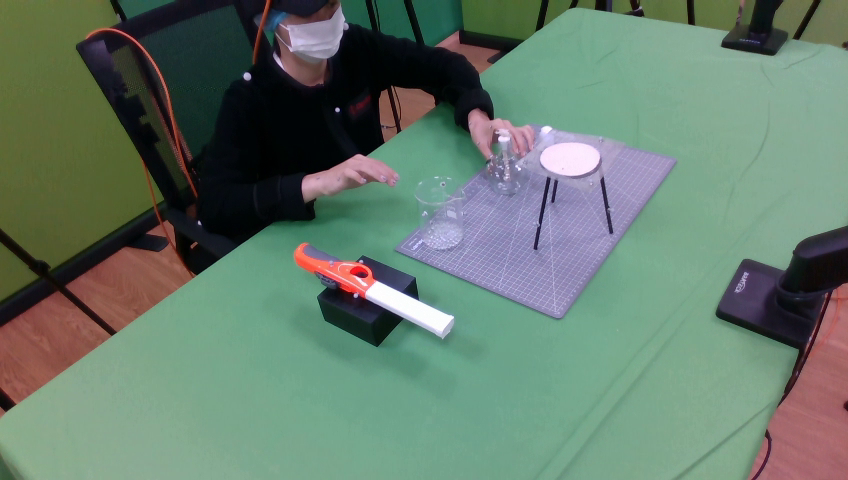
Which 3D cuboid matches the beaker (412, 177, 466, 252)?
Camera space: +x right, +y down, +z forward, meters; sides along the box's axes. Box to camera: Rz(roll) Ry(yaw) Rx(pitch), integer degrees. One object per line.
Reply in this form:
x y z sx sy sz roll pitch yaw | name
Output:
0.029 -0.038 0.952 0.083 0.101 0.074 9 43 18 | beaker

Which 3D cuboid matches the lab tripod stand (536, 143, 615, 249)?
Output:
0.224 -0.069 0.931 0.148 0.132 0.147 -4 42 4 | lab tripod stand

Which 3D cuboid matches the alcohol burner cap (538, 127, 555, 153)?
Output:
0.234 -0.191 1.147 0.034 0.048 0.033 -5 40 5 | alcohol burner cap

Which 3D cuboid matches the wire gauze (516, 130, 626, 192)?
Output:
0.216 -0.124 0.892 0.124 0.011 0.122 22 49 31 | wire gauze

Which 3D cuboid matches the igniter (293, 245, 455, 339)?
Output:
-0.079 0.066 0.834 0.274 0.025 0.057 23 48 27 | igniter

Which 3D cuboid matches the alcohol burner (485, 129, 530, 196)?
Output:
0.142 -0.137 1.041 0.078 0.119 0.077 -6 39 5 | alcohol burner
